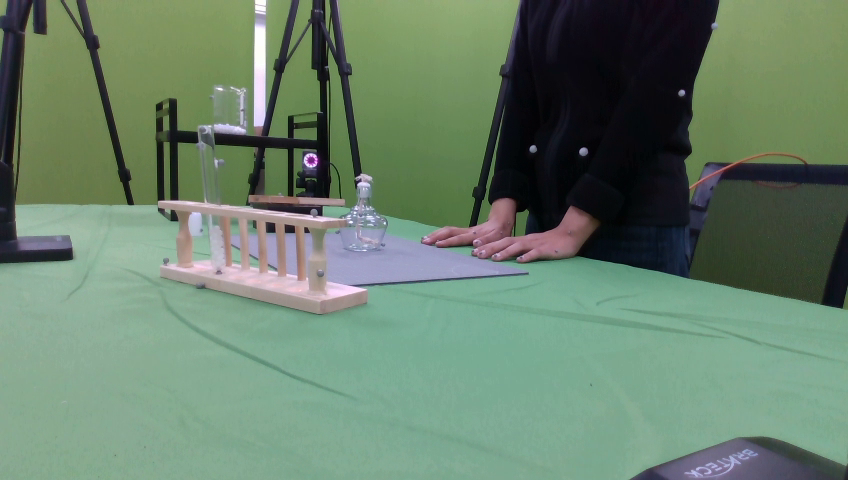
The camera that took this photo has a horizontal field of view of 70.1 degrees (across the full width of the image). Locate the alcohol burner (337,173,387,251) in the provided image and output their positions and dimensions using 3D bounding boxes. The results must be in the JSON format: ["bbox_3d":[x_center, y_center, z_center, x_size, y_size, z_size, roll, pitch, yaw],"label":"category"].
[{"bbox_3d":[-0.095,-0.043,0.926,0.078,0.119,0.078,3,5,0],"label":"alcohol burner"}]

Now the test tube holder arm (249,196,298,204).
[{"bbox_3d":[-0.281,-0.074,1.129,0.088,0.015,0.010,1,9,-22],"label":"test tube holder arm"}]

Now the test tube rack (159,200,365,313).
[{"bbox_3d":[-0.173,0.009,0.624,0.241,0.085,0.067,7,9,34],"label":"test tube rack"}]

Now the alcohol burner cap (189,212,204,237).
[{"bbox_3d":[-0.389,-0.029,1.026,0.034,0.048,0.034,2,8,0],"label":"alcohol burner cap"}]

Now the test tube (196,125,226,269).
[{"bbox_3d":[-0.221,-0.043,0.629,0.017,0.150,0.017,-3,8,1],"label":"test tube"}]

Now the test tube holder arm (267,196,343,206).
[{"bbox_3d":[-0.241,-0.075,1.152,0.179,0.015,0.013,0,8,-24],"label":"test tube holder arm"}]

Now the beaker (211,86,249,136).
[{"bbox_3d":[-0.413,-0.274,1.297,0.074,0.100,0.083,-5,11,-44],"label":"beaker"}]
